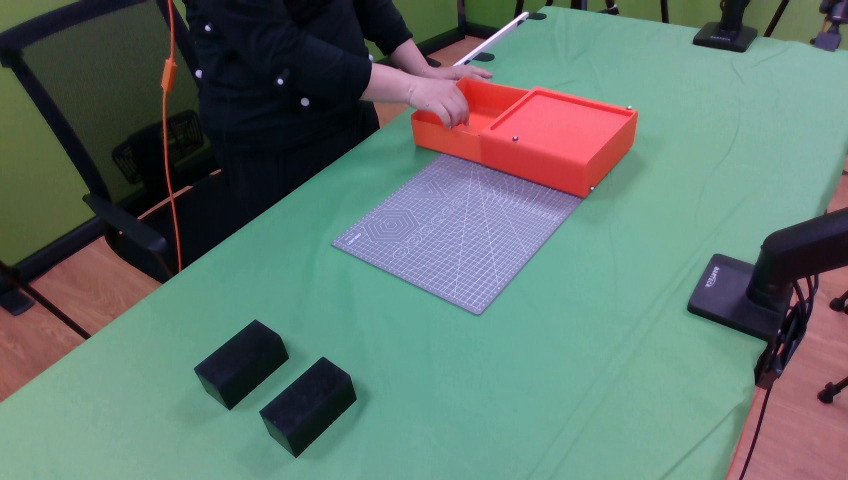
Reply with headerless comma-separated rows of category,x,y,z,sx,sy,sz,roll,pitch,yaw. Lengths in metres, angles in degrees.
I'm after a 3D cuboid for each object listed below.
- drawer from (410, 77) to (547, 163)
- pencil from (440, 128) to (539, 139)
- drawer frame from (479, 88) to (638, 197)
drawer,0.113,-0.235,1.186,0.210,0.073,0.195,21,46,32
pencil,0.128,-0.208,1.192,0.194,0.012,0.012,-2,40,10
drawer frame,0.243,-0.184,1.100,0.212,0.083,0.202,23,48,30
